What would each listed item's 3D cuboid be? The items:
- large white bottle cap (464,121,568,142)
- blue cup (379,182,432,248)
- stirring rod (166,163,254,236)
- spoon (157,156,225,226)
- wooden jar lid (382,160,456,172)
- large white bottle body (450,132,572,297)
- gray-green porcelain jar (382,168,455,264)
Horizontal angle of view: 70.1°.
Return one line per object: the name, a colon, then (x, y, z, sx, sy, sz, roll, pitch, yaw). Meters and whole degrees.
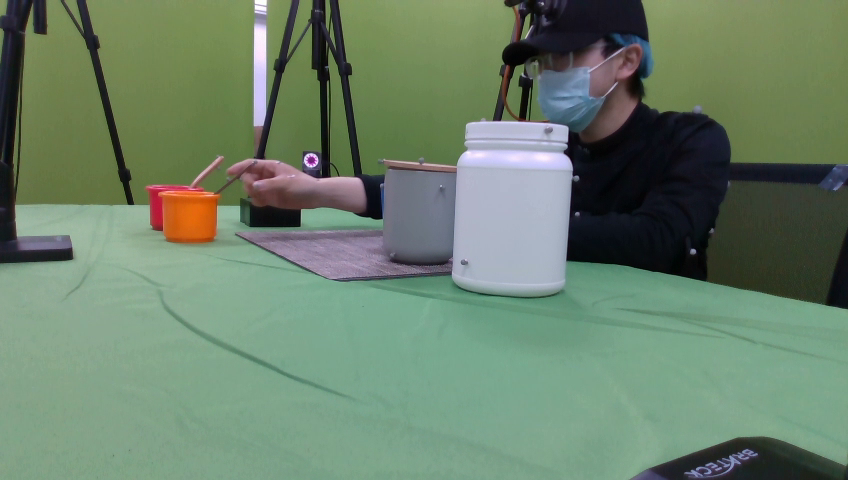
large white bottle cap: (0.103, -0.121, 0.677, 0.115, 0.018, 0.115, 3, 7, 0)
blue cup: (-0.030, -0.041, 0.979, 0.093, 0.100, 0.092, 1, 9, 0)
stirring rod: (-0.341, -0.066, 0.967, 0.176, 0.006, 0.014, -42, 24, -9)
spoon: (-0.425, -0.094, 1.117, 0.041, 0.022, 0.194, 3, 51, 31)
wooden jar lid: (-0.003, -0.096, 0.827, 0.108, 0.020, 0.108, 4, 10, 0)
large white bottle body: (0.099, -0.037, 0.688, 0.131, 0.184, 0.130, 2, 7, 0)
gray-green porcelain jar: (-0.005, -0.034, 0.834, 0.106, 0.126, 0.106, 3, 7, 0)
